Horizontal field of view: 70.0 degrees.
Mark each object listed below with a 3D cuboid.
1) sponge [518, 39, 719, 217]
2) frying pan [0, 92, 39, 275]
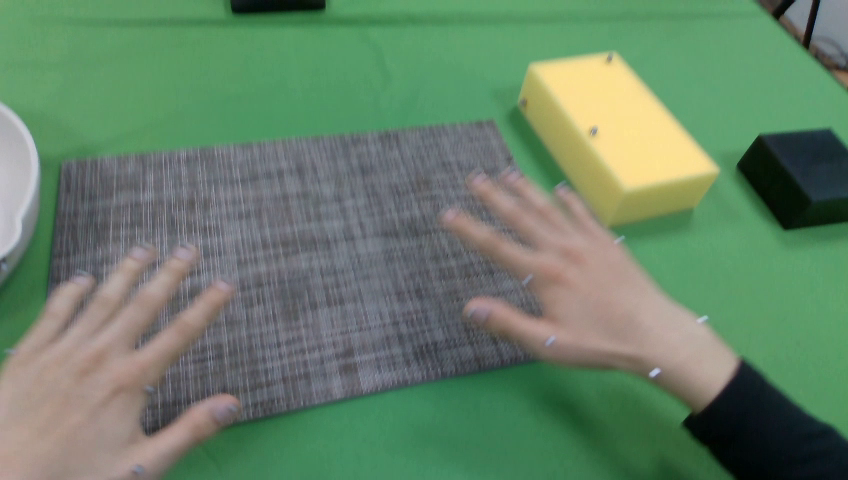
[{"bbox_3d":[0.205,-0.130,0.666,0.118,0.061,0.204,-14,57,-18],"label":"sponge"},{"bbox_3d":[-0.478,0.047,0.403,0.307,0.103,0.484,14,45,3],"label":"frying pan"}]
